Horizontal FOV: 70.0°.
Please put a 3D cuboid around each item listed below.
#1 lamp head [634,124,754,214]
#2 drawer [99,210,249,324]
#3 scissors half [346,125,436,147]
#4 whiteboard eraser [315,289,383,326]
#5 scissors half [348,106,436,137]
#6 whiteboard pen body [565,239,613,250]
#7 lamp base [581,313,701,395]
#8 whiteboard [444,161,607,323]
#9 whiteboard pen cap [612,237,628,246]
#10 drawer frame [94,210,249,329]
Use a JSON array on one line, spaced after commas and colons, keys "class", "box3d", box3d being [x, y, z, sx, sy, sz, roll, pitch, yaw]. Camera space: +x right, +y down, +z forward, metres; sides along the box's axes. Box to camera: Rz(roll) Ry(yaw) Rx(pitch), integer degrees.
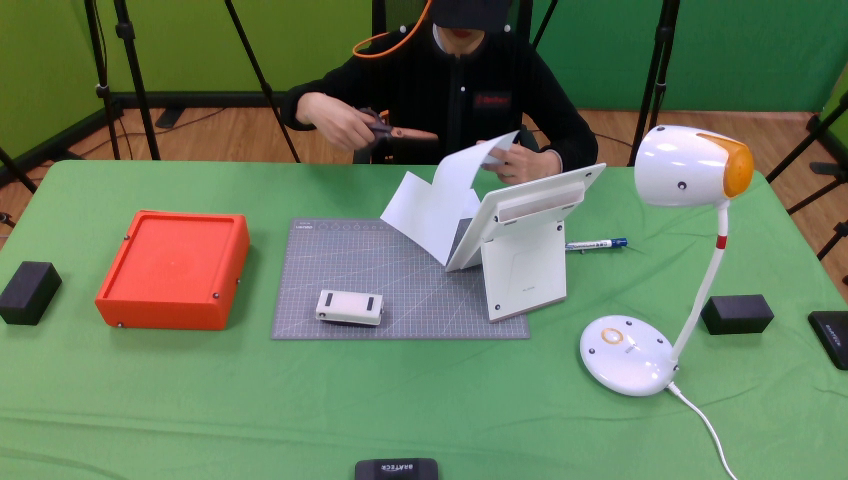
[{"class": "lamp head", "box3d": [0.351, -0.089, 0.775, 0.112, 0.113, 0.122, -30, 30, -28]}, {"class": "drawer", "box3d": [-0.435, 0.044, 1.081, 0.194, 0.073, 0.210, 3, 47, -2]}, {"class": "scissors half", "box3d": [-0.062, -0.197, 1.137, 0.175, 0.040, 0.013, -1, 10, 13]}, {"class": "whiteboard eraser", "box3d": [-0.130, 0.119, 1.054, 0.113, 0.042, 0.055, 6, 47, 1]}, {"class": "scissors half", "box3d": [-0.060, -0.217, 1.134, 0.175, 0.040, 0.013, 18, 9, 10]}, {"class": "whiteboard pen body", "box3d": [0.331, 0.008, 1.211, 0.141, 0.017, 0.017, -5, 47, -4]}, {"class": "lamp base", "box3d": [0.361, 0.144, 0.972, 0.178, 0.181, 0.160, 34, 53, 23]}, {"class": "whiteboard", "box3d": [0.186, 0.025, 1.029, 0.217, 0.306, 0.143, -14, 68, -18]}, {"class": "whiteboard pen cap", "box3d": [0.390, 0.004, 1.215, 0.033, 0.018, 0.018, -7, 47, -2]}, {"class": "drawer frame", "box3d": [-0.435, 0.048, 1.076, 0.202, 0.083, 0.212, 2, 47, -3]}]
